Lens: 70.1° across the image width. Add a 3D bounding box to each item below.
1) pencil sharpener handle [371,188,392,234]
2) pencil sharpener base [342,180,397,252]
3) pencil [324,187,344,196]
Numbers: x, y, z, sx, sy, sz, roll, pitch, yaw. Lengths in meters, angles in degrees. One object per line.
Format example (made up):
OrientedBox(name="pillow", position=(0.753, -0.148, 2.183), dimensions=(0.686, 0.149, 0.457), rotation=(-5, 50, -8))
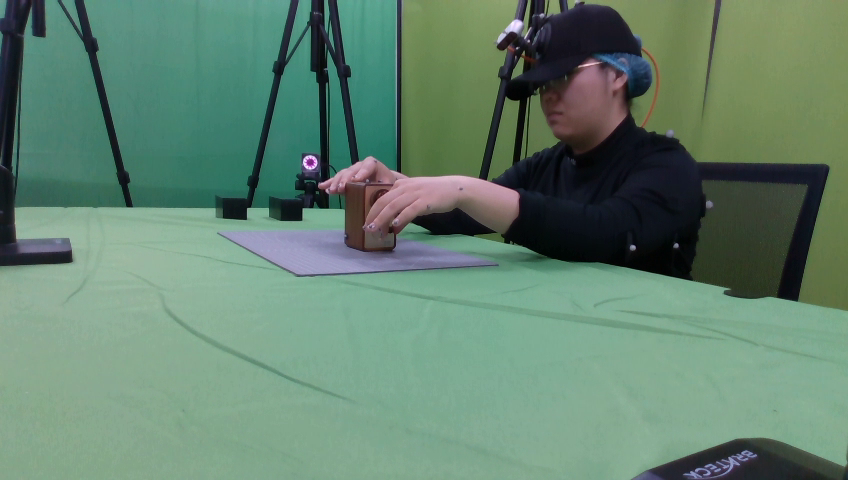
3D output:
OrientedBox(name="pencil sharpener handle", position=(-0.058, -0.044, 0.912), dimensions=(0.036, 0.067, 0.030), rotation=(2, 7, -34))
OrientedBox(name="pencil sharpener base", position=(-0.085, -0.039, 0.956), dimensions=(0.062, 0.107, 0.076), rotation=(-3, 9, -33))
OrientedBox(name="pencil", position=(-0.127, -0.077, 1.020), dimensions=(0.012, 0.012, 0.193), rotation=(-2, 10, -33))
